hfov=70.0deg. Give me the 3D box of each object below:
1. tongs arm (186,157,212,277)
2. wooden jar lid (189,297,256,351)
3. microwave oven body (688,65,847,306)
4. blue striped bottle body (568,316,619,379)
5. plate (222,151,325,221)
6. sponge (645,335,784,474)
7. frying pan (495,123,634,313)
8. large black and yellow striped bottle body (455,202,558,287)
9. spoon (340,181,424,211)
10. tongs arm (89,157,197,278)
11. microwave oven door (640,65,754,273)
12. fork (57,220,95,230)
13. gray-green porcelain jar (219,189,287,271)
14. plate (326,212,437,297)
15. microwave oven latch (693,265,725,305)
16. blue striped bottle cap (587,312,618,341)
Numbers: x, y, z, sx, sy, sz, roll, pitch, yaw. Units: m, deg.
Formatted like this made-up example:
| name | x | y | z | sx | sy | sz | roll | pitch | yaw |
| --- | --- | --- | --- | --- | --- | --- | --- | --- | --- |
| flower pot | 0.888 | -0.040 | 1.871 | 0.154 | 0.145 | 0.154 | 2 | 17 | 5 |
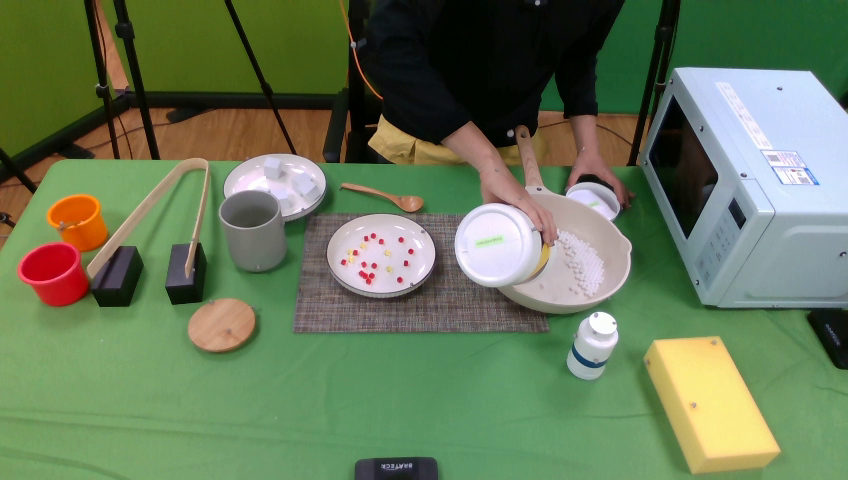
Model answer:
| name | x | y | z | sx | sy | sz | roll | pitch | yaw |
| --- | --- | --- | --- | --- | --- | --- | --- | --- | --- |
| tongs arm | -0.445 | -0.058 | 1.168 | 0.051 | 0.026 | 0.382 | -5 | 37 | -6 |
| wooden jar lid | -0.342 | 0.145 | 1.033 | 0.108 | 0.021 | 0.107 | 2 | 45 | -2 |
| microwave oven body | 0.669 | -0.111 | 1.176 | 0.326 | 0.261 | 0.439 | 0 | 46 | -3 |
| blue striped bottle body | 0.277 | 0.169 | 0.984 | 0.063 | 0.121 | 0.062 | 2 | 46 | -2 |
| plate | -0.310 | -0.106 | 1.262 | 0.208 | 0.039 | 0.206 | 2 | 47 | -2 |
| sponge | 0.449 | 0.253 | 0.956 | 0.118 | 0.061 | 0.205 | -4 | 46 | -7 |
| frying pan | 0.235 | -0.060 | 1.208 | 0.307 | 0.103 | 0.484 | 2 | 54 | -6 |
| large black and yellow striped bottle body | 0.144 | 0.009 | 1.000 | 0.130 | 0.131 | 0.184 | 33 | 14 | 25 |
| spoon | -0.090 | -0.100 | 1.282 | 0.193 | 0.022 | 0.041 | 18 | 65 | 13 |
| tongs arm | -0.530 | -0.058 | 1.163 | 0.028 | 0.028 | 0.385 | 1 | 36 | 7 |
| microwave oven door | 0.523 | -0.147 | 1.193 | 0.039 | 0.245 | 0.353 | 0 | 47 | -3 |
| fork | -0.624 | -0.027 | 1.087 | 0.028 | 0.207 | 0.018 | -3 | 92 | -17 |
| gray-green porcelain jar | -0.310 | -0.014 | 1.113 | 0.106 | 0.127 | 0.105 | 2 | 46 | -2 |
| plate | -0.080 | 0.030 | 1.143 | 0.209 | 0.038 | 0.208 | 2 | 46 | -2 |
| microwave oven latch | 0.523 | 0.082 | 1.116 | 0.030 | 0.029 | 0.078 | 2 | 46 | -1 |
| blue striped bottle cap | 0.279 | 0.134 | 0.946 | 0.044 | 0.021 | 0.044 | 2 | 45 | -2 |
